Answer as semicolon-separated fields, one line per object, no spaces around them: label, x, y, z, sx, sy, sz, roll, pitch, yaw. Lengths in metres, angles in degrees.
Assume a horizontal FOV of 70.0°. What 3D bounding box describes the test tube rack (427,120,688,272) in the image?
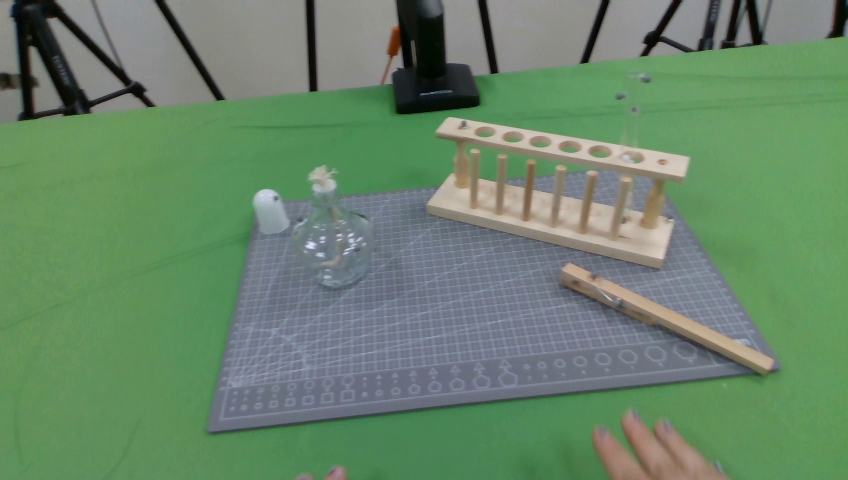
test tube rack;0.123;-0.049;0.606;0.241;0.086;0.066;15;44;22

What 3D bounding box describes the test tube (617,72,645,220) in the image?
test tube;0.190;-0.082;0.560;0.017;0.151;0.017;-6;37;5

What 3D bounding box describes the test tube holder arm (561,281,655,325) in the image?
test tube holder arm;0.163;0.053;0.538;0.087;0.010;0.015;21;51;34

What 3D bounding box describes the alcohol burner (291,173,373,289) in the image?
alcohol burner;-0.087;-0.012;0.560;0.078;0.120;0.077;-2;41;2

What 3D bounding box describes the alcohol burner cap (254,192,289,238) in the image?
alcohol burner cap;-0.164;-0.030;0.645;0.034;0.048;0.033;-2;40;2

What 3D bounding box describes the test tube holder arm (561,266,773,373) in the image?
test tube holder arm;0.198;0.064;0.511;0.177;0.013;0.015;25;53;29
